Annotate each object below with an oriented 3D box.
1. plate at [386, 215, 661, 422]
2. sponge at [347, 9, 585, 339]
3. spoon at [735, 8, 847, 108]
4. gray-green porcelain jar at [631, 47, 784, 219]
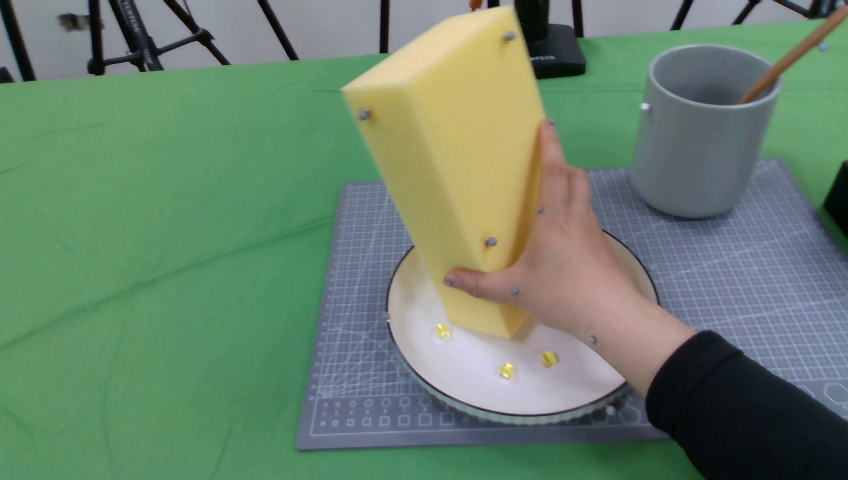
[{"bbox_3d":[0.075,0.053,0.479,0.207,0.039,0.205,-3,44,3],"label":"plate"},{"bbox_3d":[0.042,-0.044,0.445,0.060,0.209,0.118,9,44,44],"label":"sponge"},{"bbox_3d":[0.272,-0.112,0.509,0.022,0.194,0.041,28,42,-5],"label":"spoon"},{"bbox_3d":[0.246,-0.091,0.544,0.106,0.128,0.105,-3,44,4],"label":"gray-green porcelain jar"}]
